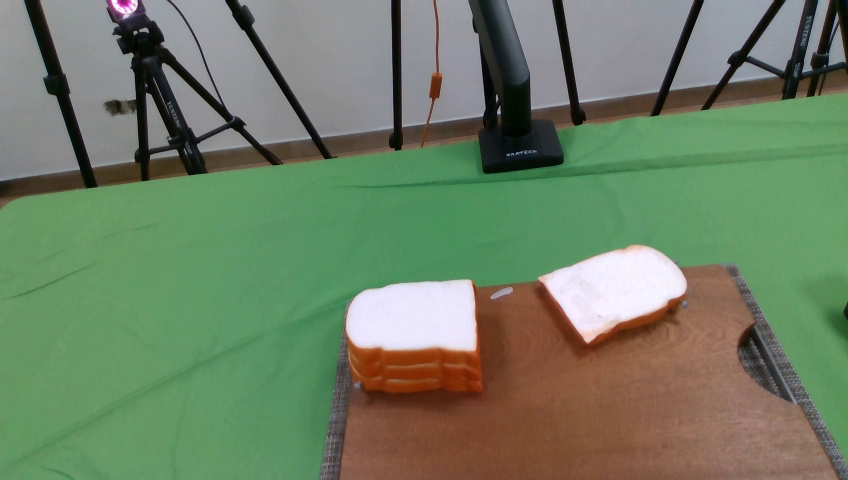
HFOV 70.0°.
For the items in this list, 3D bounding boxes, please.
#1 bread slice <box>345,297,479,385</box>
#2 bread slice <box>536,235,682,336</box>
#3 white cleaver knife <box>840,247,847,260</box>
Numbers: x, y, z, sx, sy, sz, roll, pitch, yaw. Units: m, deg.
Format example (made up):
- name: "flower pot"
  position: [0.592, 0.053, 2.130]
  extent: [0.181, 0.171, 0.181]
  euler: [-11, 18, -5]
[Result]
- name: "bread slice"
  position: [-0.012, 0.099, 0.612]
  extent: [0.134, 0.018, 0.106]
  euler: [-1, 38, 4]
- name: "bread slice"
  position: [0.197, 0.042, 0.629]
  extent: [0.131, 0.019, 0.103]
  euler: [-21, 38, -5]
- name: "white cleaver knife"
  position: [0.462, 0.089, 0.499]
  extent: [0.066, 0.022, 0.283]
  euler: [-13, 42, -2]
